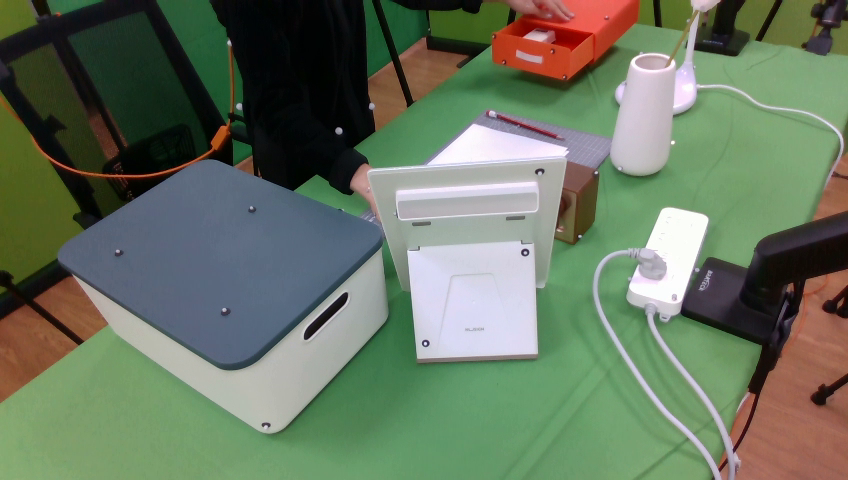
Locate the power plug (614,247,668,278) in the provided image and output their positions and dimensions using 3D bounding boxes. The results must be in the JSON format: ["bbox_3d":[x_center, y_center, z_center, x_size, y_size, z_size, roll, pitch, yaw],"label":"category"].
[{"bbox_3d":[0.306,0.031,0.851,0.072,0.053,0.035,24,49,33],"label":"power plug"}]

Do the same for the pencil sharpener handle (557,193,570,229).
[{"bbox_3d":[0.195,-0.038,0.908,0.035,0.068,0.031,24,50,30],"label":"pencil sharpener handle"}]

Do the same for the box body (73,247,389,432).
[{"bbox_3d":[-0.255,0.065,0.827,0.361,0.161,0.255,21,48,29],"label":"box body"}]

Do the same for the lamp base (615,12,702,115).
[{"bbox_3d":[0.484,-0.363,1.211,0.180,0.181,0.159,-15,41,-14],"label":"lamp base"}]

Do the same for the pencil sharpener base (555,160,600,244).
[{"bbox_3d":[0.228,-0.057,0.945,0.061,0.107,0.077,24,50,31],"label":"pencil sharpener base"}]

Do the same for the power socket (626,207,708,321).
[{"bbox_3d":[0.359,0.025,0.886,0.072,0.033,0.227,16,46,26],"label":"power socket"}]

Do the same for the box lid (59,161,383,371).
[{"bbox_3d":[-0.262,0.010,0.777,0.369,0.015,0.264,21,48,29],"label":"box lid"}]

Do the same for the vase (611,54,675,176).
[{"bbox_3d":[0.377,-0.209,1.031,0.098,0.201,0.097,-4,40,3],"label":"vase"}]

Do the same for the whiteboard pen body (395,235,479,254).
[{"bbox_3d":[0.019,0.006,0.963,0.140,0.017,0.017,9,43,17],"label":"whiteboard pen body"}]

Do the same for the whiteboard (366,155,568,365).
[{"bbox_3d":[0.059,0.049,0.738,0.217,0.307,0.143,-3,60,5],"label":"whiteboard"}]

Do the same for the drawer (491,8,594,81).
[{"bbox_3d":[0.288,-0.446,1.346,0.193,0.073,0.212,24,49,32],"label":"drawer"}]

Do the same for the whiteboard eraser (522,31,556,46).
[{"bbox_3d":[0.245,-0.434,1.359,0.055,0.042,0.113,31,45,28],"label":"whiteboard eraser"}]

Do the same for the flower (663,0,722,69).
[{"bbox_3d":[0.379,-0.261,0.965,0.044,0.362,0.038,21,53,5],"label":"flower"}]

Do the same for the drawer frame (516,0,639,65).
[{"bbox_3d":[0.354,-0.506,1.404,0.200,0.083,0.214,25,54,33],"label":"drawer frame"}]

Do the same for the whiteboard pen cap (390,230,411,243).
[{"bbox_3d":[-0.037,-0.005,0.980,0.033,0.018,0.018,11,44,18],"label":"whiteboard pen cap"}]

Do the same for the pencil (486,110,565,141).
[{"bbox_3d":[0.204,-0.232,1.226,0.192,0.012,0.012,29,52,33],"label":"pencil"}]
